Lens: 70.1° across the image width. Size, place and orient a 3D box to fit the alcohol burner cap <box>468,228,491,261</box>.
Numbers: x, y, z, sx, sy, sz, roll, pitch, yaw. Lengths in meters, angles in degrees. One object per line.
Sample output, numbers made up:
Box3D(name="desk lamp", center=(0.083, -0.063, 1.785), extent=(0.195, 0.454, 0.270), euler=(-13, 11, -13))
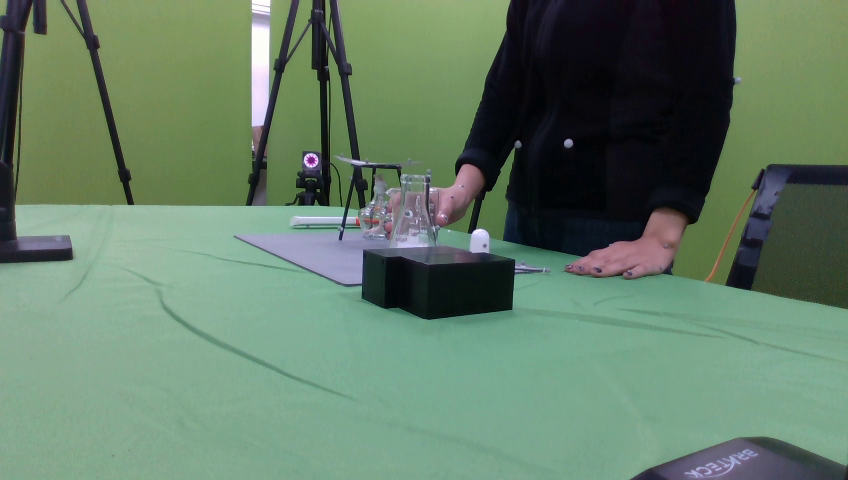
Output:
Box3D(name="alcohol burner cap", center=(0.082, 0.006, 0.878), extent=(0.034, 0.048, 0.034), euler=(3, 7, 0))

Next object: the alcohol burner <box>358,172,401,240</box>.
Box3D(name="alcohol burner", center=(-0.077, -0.061, 1.065), extent=(0.078, 0.119, 0.078), euler=(4, 9, 0))

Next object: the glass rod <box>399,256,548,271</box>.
Box3D(name="glass rod", center=(0.064, 0.030, 0.806), extent=(0.199, 0.008, 0.008), euler=(4, 7, 10))

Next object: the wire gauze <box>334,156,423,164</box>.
Box3D(name="wire gauze", center=(-0.081, -0.137, 1.051), extent=(0.122, 0.011, 0.124), euler=(0, 8, -29))

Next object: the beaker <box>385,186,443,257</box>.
Box3D(name="beaker", center=(-0.016, -0.028, 0.886), extent=(0.084, 0.100, 0.074), euler=(1, 7, -9))

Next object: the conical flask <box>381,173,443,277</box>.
Box3D(name="conical flask", center=(-0.012, -0.020, 0.731), extent=(0.075, 0.122, 0.075), euler=(2, 7, 0))

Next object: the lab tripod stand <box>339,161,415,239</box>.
Box3D(name="lab tripod stand", center=(-0.082, -0.070, 1.059), extent=(0.148, 0.131, 0.148), euler=(4, 6, 0))

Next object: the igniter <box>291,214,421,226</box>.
Box3D(name="igniter", center=(-0.135, -0.041, 1.250), extent=(0.278, 0.025, 0.057), euler=(-1, -3, -28))
